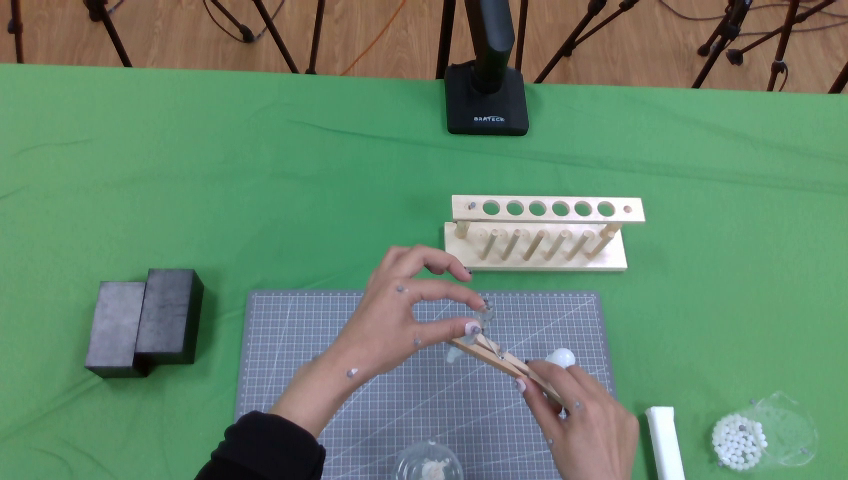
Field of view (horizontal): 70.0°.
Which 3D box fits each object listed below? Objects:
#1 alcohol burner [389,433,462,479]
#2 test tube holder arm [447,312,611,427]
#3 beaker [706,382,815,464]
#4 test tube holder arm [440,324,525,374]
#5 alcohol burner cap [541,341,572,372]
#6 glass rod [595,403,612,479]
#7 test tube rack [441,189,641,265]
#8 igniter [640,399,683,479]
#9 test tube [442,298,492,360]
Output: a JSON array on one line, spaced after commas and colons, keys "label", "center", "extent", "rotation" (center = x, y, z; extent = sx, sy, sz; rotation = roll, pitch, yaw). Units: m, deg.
[{"label": "alcohol burner", "center": [0.003, 0.238, 0.629], "extent": [0.078, 0.120, 0.077], "rotation": [2, 62, -4]}, {"label": "test tube holder arm", "center": [0.098, 0.122, 0.575], "extent": [0.178, 0.015, 0.013], "rotation": [32, 67, 9]}, {"label": "beaker", "center": [0.378, 0.213, 0.693], "extent": [0.074, 0.101, 0.083], "rotation": [13, 64, 0]}, {"label": "test tube holder arm", "center": [0.056, 0.105, 0.579], "extent": [0.087, 0.015, 0.010], "rotation": [25, 66, 6]}, {"label": "alcohol burner cap", "center": [0.163, 0.139, 0.732], "extent": [0.034, 0.048, 0.033], "rotation": [2, 65, -5]}, {"label": "glass rod", "center": [0.212, 0.286, 0.688], "extent": [0.008, 0.008, 0.198], "rotation": [0, 65, -6]}, {"label": "test tube rack", "center": [0.148, -0.015, 0.781], "extent": [0.243, 0.086, 0.066], "rotation": [0, 65, -6]}, {"label": "igniter", "center": [0.281, 0.317, 0.674], "extent": [0.057, 0.025, 0.274], "rotation": [5, 64, -15]}, {"label": "test tube", "center": [0.038, 0.089, 0.583], "extent": [0.017, 0.151, 0.017], "rotation": [5, 63, -9]}]
